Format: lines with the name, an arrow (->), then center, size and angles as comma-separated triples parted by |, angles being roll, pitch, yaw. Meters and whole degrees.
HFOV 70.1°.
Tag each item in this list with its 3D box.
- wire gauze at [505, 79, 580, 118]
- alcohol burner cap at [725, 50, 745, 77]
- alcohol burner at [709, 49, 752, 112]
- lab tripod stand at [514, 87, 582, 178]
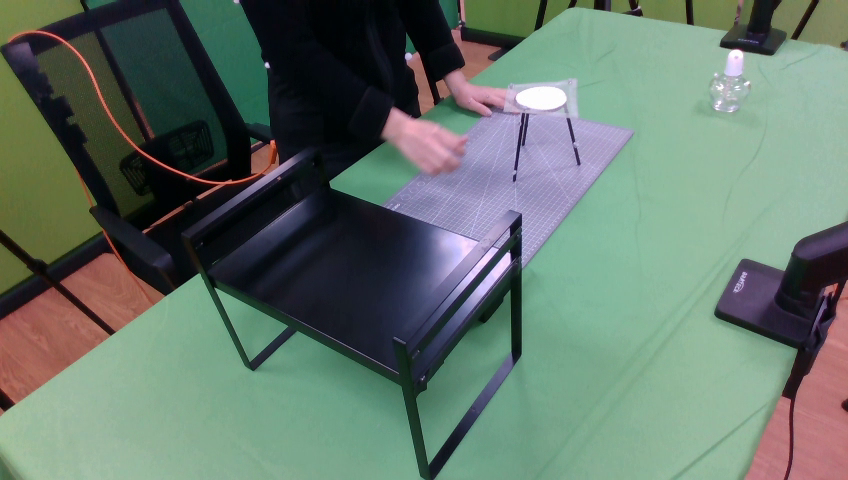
wire gauze -> 0.203, -0.244, 1.036 | 0.125, 0.011, 0.121 | 4, 41, 11
alcohol burner cap -> 0.596, -0.340, 1.154 | 0.034, 0.048, 0.033 | -8, 45, 8
alcohol burner -> 0.600, -0.313, 1.179 | 0.078, 0.119, 0.077 | -6, 40, 5
lab tripod stand -> 0.211, -0.196, 1.082 | 0.148, 0.132, 0.147 | -3, 40, 3
